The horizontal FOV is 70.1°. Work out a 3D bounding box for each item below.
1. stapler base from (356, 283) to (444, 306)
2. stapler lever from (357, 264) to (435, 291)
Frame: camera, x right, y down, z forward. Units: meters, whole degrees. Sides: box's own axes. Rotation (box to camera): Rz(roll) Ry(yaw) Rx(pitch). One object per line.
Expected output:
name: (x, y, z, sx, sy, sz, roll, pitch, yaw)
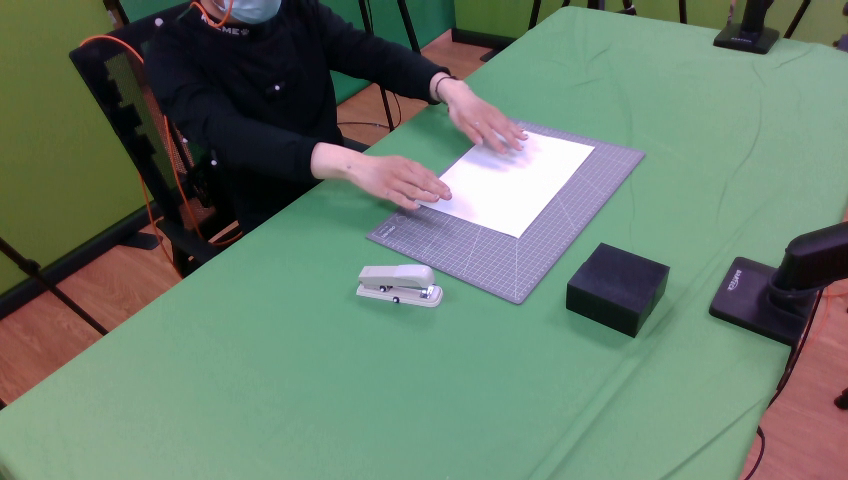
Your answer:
stapler base: (-0.037, 0.069, 0.895, 0.130, 0.024, 0.041, 6, 40, 18)
stapler lever: (-0.041, 0.050, 0.879, 0.117, 0.040, 0.027, 7, 40, 17)
